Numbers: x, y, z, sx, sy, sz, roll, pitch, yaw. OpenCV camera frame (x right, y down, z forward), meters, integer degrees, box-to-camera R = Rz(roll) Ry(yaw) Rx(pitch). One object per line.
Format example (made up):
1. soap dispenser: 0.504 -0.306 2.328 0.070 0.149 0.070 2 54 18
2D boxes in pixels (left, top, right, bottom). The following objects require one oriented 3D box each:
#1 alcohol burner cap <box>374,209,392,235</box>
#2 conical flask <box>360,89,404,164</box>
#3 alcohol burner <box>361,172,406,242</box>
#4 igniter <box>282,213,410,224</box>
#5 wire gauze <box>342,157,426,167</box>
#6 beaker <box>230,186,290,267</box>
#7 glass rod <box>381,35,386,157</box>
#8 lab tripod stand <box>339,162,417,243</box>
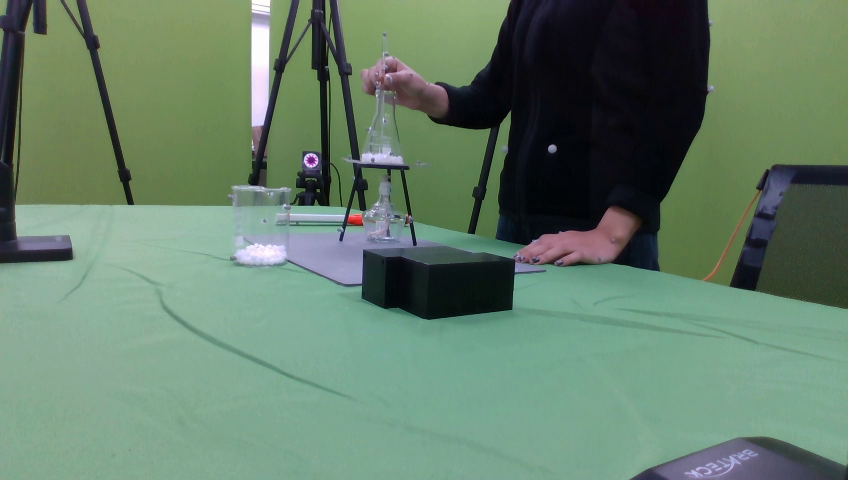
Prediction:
1. alcohol burner cap: -0.078 -0.036 1.148 0.034 0.048 0.034 2 7 0
2. conical flask: -0.067 -0.189 1.011 0.075 0.122 0.075 4 6 0
3. alcohol burner: -0.067 -0.056 1.030 0.078 0.119 0.078 4 9 0
4. igniter: -0.159 -0.046 1.287 0.278 0.025 0.057 -1 -3 -21
5. wire gauze: -0.065 -0.130 1.017 0.122 0.011 0.124 2 5 -27
6. beaker: -0.209 -0.019 0.778 0.074 0.100 0.084 3 6 4
7. glass rod: -0.067 -0.237 1.004 0.008 0.199 0.008 1 6 0
8. lab tripod stand: -0.067 -0.065 1.027 0.148 0.131 0.148 4 7 0
